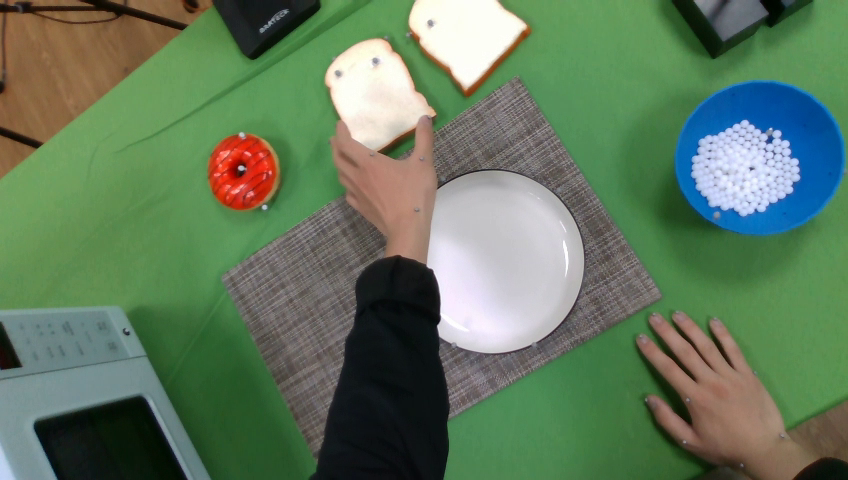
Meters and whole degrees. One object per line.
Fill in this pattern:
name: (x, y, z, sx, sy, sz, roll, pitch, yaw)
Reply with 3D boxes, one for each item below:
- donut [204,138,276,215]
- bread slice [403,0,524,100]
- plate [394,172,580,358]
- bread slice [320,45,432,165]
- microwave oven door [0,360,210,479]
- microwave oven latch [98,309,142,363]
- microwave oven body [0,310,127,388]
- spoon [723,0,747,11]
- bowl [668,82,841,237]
donut: (-0.234, -0.080, 0.767, 0.099, 0.048, 0.099, -1, 87, 16)
bread slice: (0.037, -0.247, 0.725, 0.131, 0.019, 0.105, 44, 96, 11)
plate: (0.071, 0.029, 0.686, 0.207, 0.039, 0.207, -1, 87, 13)
bread slice: (-0.067, -0.170, 0.745, 0.107, 0.018, 0.134, -34, 81, 9)
microwave oven door: (-0.306, 0.301, 0.641, 0.039, 0.245, 0.354, -35, 79, 9)
microwave oven latch: (-0.397, 0.127, 0.778, 0.030, 0.029, 0.079, -34, 80, 9)
microwave oven body: (-0.446, 0.348, 0.677, 0.326, 0.261, 0.440, -35, 80, 9)
spoon: (0.294, -0.261, 0.573, 0.021, 0.194, 0.041, -33, 77, 24)
bowl: (0.322, -0.074, 0.614, 0.151, 0.077, 0.151, -1, 86, 14)
